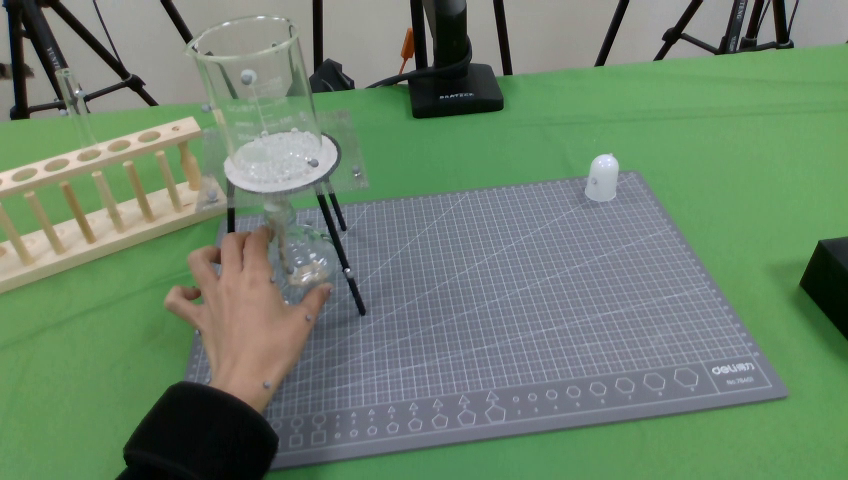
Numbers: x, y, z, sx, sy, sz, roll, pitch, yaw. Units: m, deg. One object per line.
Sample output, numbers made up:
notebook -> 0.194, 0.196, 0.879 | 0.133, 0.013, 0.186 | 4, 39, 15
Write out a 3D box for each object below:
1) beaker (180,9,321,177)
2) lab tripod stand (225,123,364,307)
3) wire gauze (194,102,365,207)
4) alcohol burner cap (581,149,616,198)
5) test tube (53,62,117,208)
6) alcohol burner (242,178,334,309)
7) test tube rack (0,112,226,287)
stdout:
beaker -> -0.120, -0.103, 0.438 | 0.084, 0.101, 0.073 | -5, 41, 0
lab tripod stand -> -0.110, -0.019, 0.516 | 0.148, 0.133, 0.147 | -3, 43, 3
wire gauze -> -0.114, -0.068, 0.473 | 0.125, 0.011, 0.120 | -12, 40, -5
alcohol burner cap -> 0.180, -0.071, 0.622 | 0.034, 0.048, 0.033 | -2, 41, 2
test tube -> -0.325, -0.096, 0.586 | 0.017, 0.151, 0.017 | 0, 35, 0
alcohol burner -> -0.117, 0.000, 0.509 | 0.078, 0.120, 0.077 | -3, 39, 2
test tube rack -> -0.331, -0.042, 0.600 | 0.243, 0.086, 0.066 | -23, 44, -21
